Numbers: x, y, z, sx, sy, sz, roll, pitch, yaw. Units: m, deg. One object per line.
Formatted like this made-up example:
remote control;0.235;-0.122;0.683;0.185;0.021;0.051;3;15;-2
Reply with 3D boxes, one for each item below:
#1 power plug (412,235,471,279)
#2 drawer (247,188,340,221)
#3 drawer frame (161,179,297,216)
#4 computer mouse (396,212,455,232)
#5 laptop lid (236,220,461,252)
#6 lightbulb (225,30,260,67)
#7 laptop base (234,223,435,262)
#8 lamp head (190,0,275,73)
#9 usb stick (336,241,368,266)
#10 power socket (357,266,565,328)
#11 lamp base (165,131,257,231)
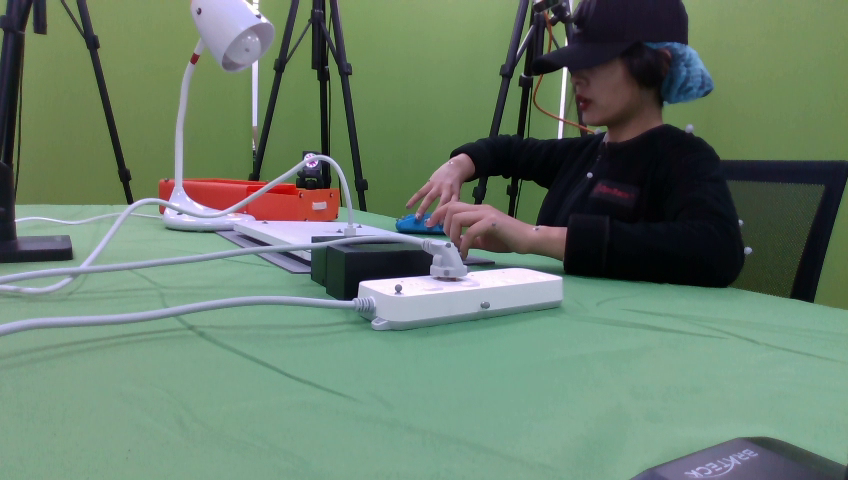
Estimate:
power plug;0.017;0.023;0.588;0.035;0.052;0.072;-1;7;-24
drawer;-0.314;-0.079;1.301;0.211;0.073;0.195;4;8;15
drawer frame;-0.421;-0.089;1.329;0.213;0.082;0.202;4;8;16
computer mouse;0.003;-0.036;1.205;0.117;0.041;0.063;-2;3;-1
laptop lid;-0.133;-0.010;0.949;0.243;0.013;0.355;0;7;-32
lightbulb;-0.318;-0.334;1.001;0.107;0.059;0.059;46;15;5
laptop base;-0.135;0.002;0.949;0.237;0.023;0.352;1;6;-33
lamp head;-0.331;-0.355;1.008;0.123;0.112;0.112;43;15;6
usb stick;-0.093;0.016;0.748;0.021;0.027;0.059;-4;5;-36
power socket;0.041;0.049;0.572;0.228;0.032;0.072;-3;8;-35
lamp base;-0.407;-0.112;1.119;0.179;0.180;0.161;-1;7;7
